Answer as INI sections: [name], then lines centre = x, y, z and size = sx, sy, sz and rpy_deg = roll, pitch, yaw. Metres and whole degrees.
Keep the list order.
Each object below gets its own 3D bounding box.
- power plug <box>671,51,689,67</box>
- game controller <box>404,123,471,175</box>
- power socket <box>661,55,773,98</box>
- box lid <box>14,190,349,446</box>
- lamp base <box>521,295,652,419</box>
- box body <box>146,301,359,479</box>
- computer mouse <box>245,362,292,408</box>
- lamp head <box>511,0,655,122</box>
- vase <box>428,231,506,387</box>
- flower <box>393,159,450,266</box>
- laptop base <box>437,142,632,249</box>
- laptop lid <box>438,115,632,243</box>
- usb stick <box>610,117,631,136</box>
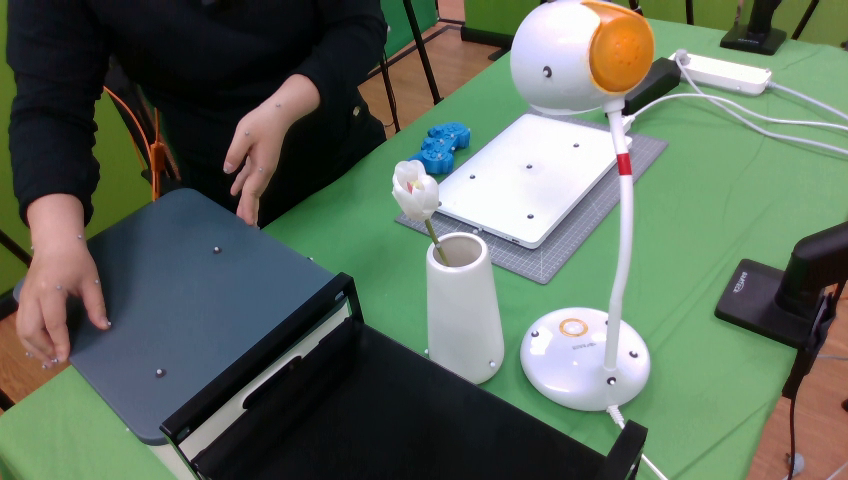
[power plug]
centre = 0.541, -0.378, 1.301
size = 0.073, 0.053, 0.035
rpy_deg = -32, 47, -23
[game controller]
centre = 0.028, -0.182, 1.169
size = 0.096, 0.052, 0.155
rpy_deg = 16, 45, 18
[power socket]
centre = 0.619, -0.353, 1.289
size = 0.225, 0.033, 0.072
rpy_deg = 26, 51, 33
[box lid]
centre = -0.295, 0.062, 0.723
size = 0.368, 0.015, 0.264
rpy_deg = 26, 51, 33
[lamp base]
centre = 0.201, 0.095, 0.710
size = 0.161, 0.181, 0.178
rpy_deg = -16, 43, -10
[box body]
centre = -0.288, 0.119, 0.772
size = 0.361, 0.161, 0.255
rpy_deg = 26, 50, 33
[computer mouse]
centre = -0.201, 0.178, 0.777
size = 0.063, 0.041, 0.116
rpy_deg = -12, 47, -10
[lamp head]
centre = 0.155, -0.168, 0.563
size = 0.113, 0.113, 0.122
rpy_deg = -18, 23, -12
[vase]
centre = 0.050, 0.087, 0.728
size = 0.098, 0.201, 0.097
rpy_deg = -3, 40, 3
[flower]
centre = 0.028, 0.035, 0.665
size = 0.043, 0.364, 0.038
rpy_deg = 33, 72, 28
[laptop base]
centre = 0.193, -0.117, 1.087
size = 0.233, 0.023, 0.355
rpy_deg = 21, 48, 34
[laptop lid]
centre = 0.189, -0.126, 1.081
size = 0.239, 0.013, 0.358
rpy_deg = 23, 48, 35
[usb stick]
centre = 0.369, -0.208, 1.147
size = 0.021, 0.027, 0.059
rpy_deg = 26, 56, 33
